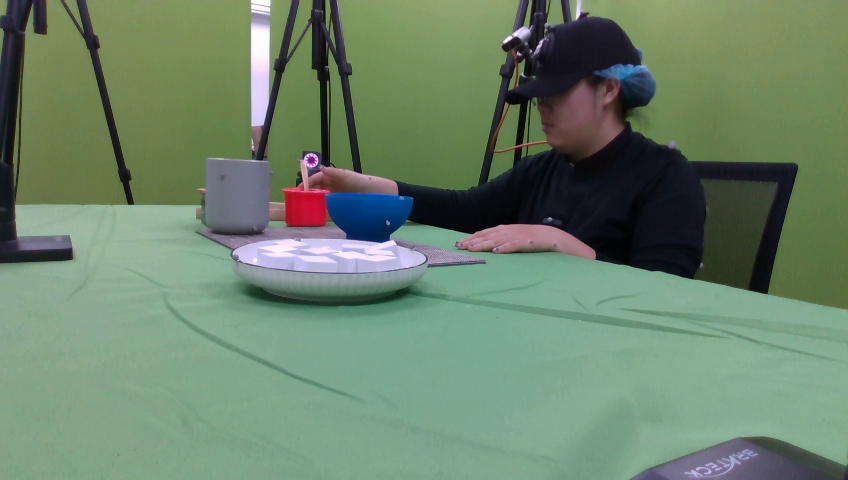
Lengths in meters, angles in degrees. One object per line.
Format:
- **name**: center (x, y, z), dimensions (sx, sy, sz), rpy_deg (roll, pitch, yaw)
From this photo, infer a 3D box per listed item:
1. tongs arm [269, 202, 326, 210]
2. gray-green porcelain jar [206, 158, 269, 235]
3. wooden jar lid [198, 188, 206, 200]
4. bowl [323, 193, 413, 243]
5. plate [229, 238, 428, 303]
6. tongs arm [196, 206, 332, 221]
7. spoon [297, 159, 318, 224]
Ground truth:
- **tongs arm**: center (-0.308, -0.072, 1.410), dimensions (0.386, 0.026, 0.050), rpy_deg (3, 8, -6)
- **gray-green porcelain jar**: center (-0.322, -0.076, 1.048), dimensions (0.106, 0.126, 0.106), rpy_deg (3, 7, 0)
- **wooden jar lid**: center (-0.382, -0.088, 1.175), dimensions (0.108, 0.020, 0.108), rpy_deg (3, 8, 0)
- **bowl**: center (-0.094, -0.037, 1.015), dimensions (0.151, 0.077, 0.151), rpy_deg (2, 7, 0)
- **plate**: center (-0.099, 0.032, 0.651), dimensions (0.209, 0.038, 0.209), rpy_deg (3, 8, 0)
- **tongs arm**: center (-0.294, -0.057, 1.330), dimensions (0.389, 0.028, 0.028), rpy_deg (1, 5, -20)
- **spoon**: center (-0.244, -0.103, 1.251), dimensions (0.042, 0.021, 0.193), rpy_deg (2, 51, -18)
